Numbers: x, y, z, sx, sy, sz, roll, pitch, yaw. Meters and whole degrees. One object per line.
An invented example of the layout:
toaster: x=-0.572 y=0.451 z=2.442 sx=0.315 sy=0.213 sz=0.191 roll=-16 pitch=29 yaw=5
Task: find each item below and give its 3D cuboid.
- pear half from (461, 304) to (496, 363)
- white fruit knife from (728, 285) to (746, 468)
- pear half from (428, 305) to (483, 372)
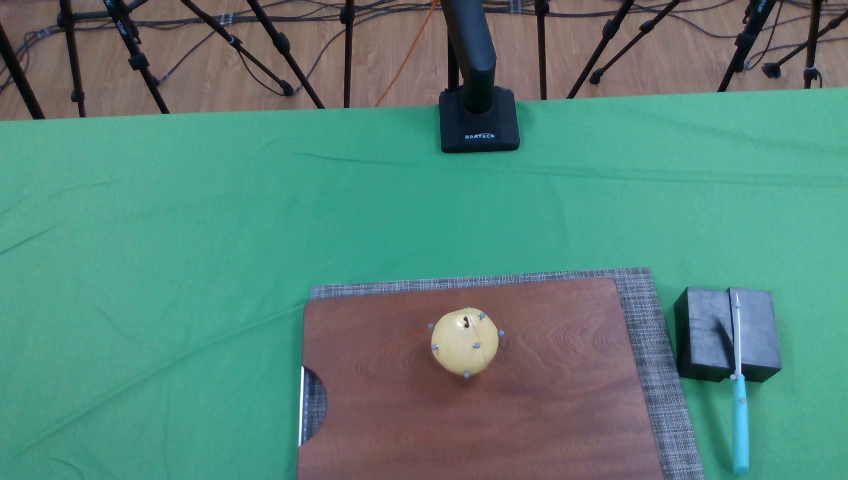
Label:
pear half: x=0.066 y=0.102 z=0.701 sx=0.031 sy=0.089 sz=0.069 roll=-24 pitch=57 yaw=-11
white fruit knife: x=0.354 y=0.154 z=0.690 sx=0.016 sy=0.027 sz=0.206 roll=0 pitch=81 yaw=11
pear half: x=0.033 y=0.110 z=0.685 sx=0.056 sy=0.111 sz=0.075 roll=-23 pitch=59 yaw=-11
